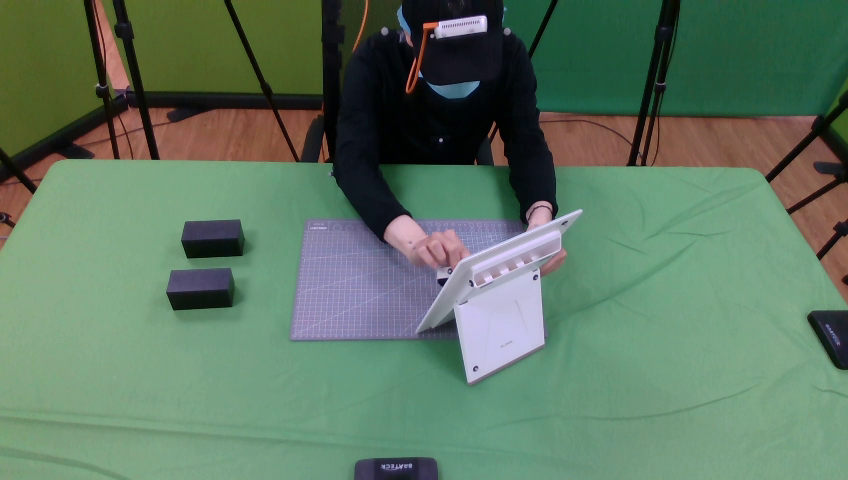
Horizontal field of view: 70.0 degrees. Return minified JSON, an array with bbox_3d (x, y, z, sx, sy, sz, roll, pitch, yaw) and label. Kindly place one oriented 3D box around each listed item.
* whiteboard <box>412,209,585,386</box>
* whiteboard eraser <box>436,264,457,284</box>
[{"bbox_3d":[0.135,0.109,0.943,0.217,0.306,0.143,-21,72,-22],"label":"whiteboard"},{"bbox_3d":[0.081,0.059,1.026,0.112,0.056,0.041,-10,73,24],"label":"whiteboard eraser"}]
